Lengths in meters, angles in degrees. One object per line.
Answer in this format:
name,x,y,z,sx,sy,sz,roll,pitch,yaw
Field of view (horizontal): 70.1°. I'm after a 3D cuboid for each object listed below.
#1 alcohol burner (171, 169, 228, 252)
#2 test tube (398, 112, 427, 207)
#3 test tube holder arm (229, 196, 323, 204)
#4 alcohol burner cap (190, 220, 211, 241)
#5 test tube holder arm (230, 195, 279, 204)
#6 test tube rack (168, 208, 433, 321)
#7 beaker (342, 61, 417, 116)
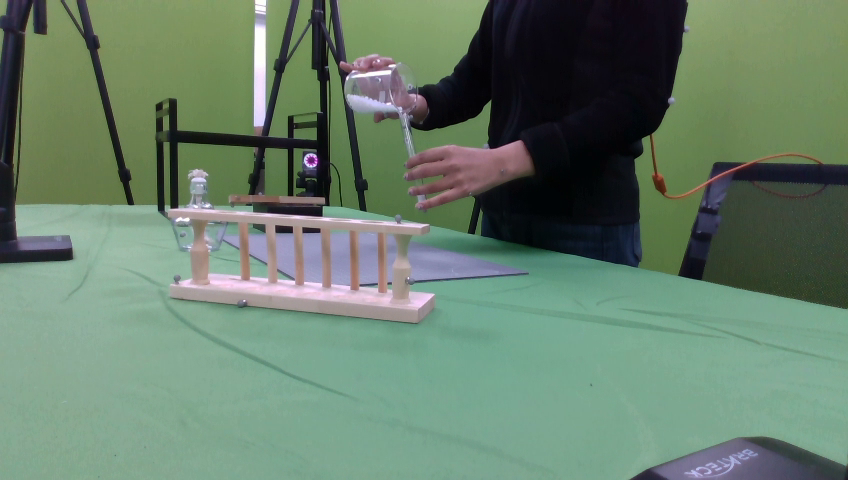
alcohol burner,-0.325,-0.043,0.875,0.078,0.119,0.078,0,6,0
test tube,-0.018,-0.125,0.942,0.017,0.150,0.017,-13,-1,0
test tube holder arm,-0.276,-0.076,1.144,0.179,0.015,0.013,-2,0,-32
alcohol burner cap,-0.365,-0.023,0.988,0.034,0.048,0.034,1,7,0
test tube holder arm,-0.311,-0.075,1.115,0.088,0.015,0.010,-2,0,-32
test tube rack,-0.115,0.017,0.574,0.242,0.085,0.067,4,8,14
beaker,-0.073,-0.238,0.964,0.100,0.084,0.074,4,12,35
